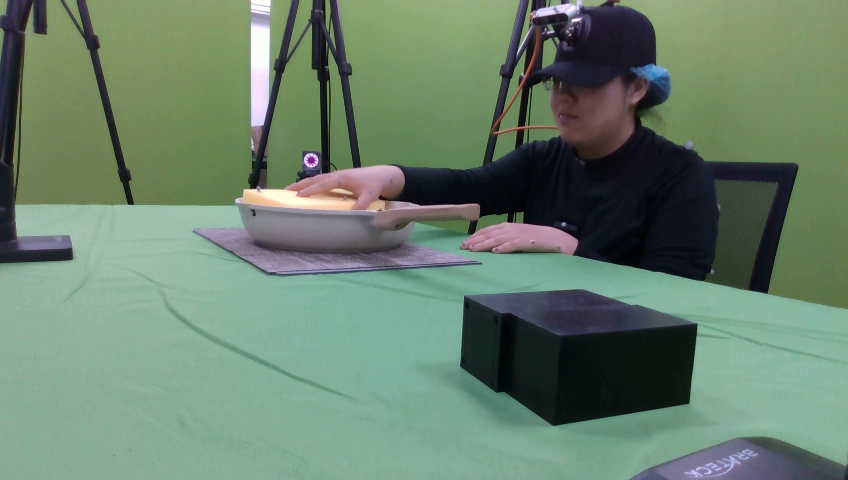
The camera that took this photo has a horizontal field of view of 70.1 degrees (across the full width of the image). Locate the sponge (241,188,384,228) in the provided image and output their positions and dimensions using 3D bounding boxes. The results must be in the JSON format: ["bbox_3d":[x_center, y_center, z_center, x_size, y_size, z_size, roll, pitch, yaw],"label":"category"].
[{"bbox_3d":[-0.179,-0.044,0.994,0.117,0.061,0.208,17,15,36],"label":"sponge"}]

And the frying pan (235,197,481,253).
[{"bbox_3d":[-0.090,-0.033,0.891,0.308,0.102,0.485,-4,2,-37],"label":"frying pan"}]
